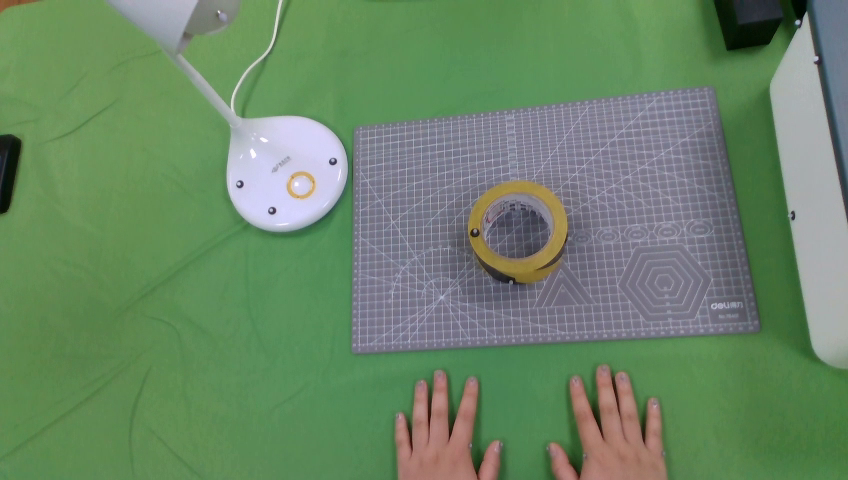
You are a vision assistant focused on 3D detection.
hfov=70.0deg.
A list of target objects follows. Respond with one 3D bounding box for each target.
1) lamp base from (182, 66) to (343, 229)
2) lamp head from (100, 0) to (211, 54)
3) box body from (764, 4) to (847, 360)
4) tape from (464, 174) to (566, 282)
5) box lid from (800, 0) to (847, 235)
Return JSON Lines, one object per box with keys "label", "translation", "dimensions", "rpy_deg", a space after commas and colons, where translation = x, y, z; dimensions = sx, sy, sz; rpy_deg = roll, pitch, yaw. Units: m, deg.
{"label": "lamp base", "translation": [-0.205, -0.120, 0.716], "dimensions": [0.178, 0.182, 0.160], "rpy_deg": [34, 81, 21]}
{"label": "lamp head", "translation": [-0.206, -0.211, 0.431], "dimensions": [0.123, 0.112, 0.112], "rpy_deg": [28, 77, -17]}
{"label": "box body", "translation": [0.501, -0.067, 0.584], "dimensions": [0.254, 0.161, 0.361], "rpy_deg": [-3, 72, 9]}
{"label": "tape", "translation": [0.103, -0.014, 0.693], "dimensions": [0.117, 0.053, 0.116], "rpy_deg": [-3, 72, 8]}
{"label": "box lid", "translation": [0.489, -0.092, 0.515], "dimensions": [0.263, 0.015, 0.369], "rpy_deg": [-2, 72, 9]}
